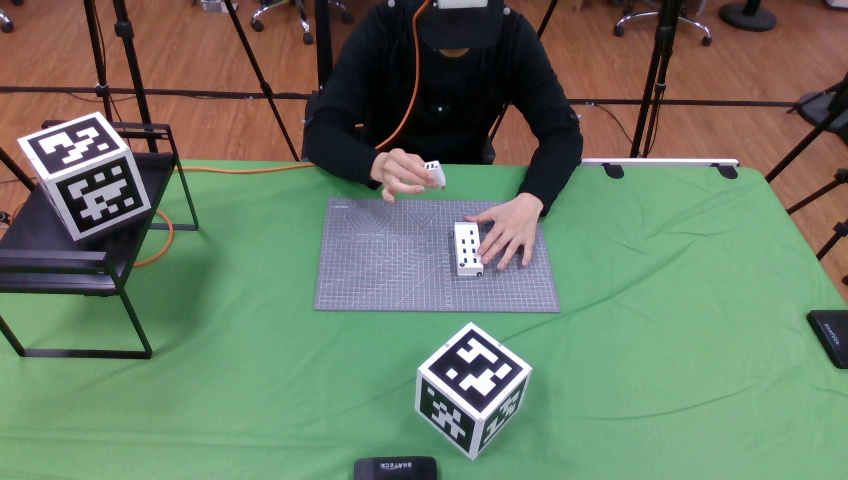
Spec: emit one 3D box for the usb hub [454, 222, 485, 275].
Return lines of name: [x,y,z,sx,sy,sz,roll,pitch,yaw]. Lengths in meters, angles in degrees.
usb hub: [0.087,0.015,1.178,0.049,0.025,0.124,0,45,-4]

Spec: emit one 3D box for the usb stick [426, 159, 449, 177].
usb stick: [0.022,-0.125,1.053,0.021,0.027,0.059,25,13,20]
